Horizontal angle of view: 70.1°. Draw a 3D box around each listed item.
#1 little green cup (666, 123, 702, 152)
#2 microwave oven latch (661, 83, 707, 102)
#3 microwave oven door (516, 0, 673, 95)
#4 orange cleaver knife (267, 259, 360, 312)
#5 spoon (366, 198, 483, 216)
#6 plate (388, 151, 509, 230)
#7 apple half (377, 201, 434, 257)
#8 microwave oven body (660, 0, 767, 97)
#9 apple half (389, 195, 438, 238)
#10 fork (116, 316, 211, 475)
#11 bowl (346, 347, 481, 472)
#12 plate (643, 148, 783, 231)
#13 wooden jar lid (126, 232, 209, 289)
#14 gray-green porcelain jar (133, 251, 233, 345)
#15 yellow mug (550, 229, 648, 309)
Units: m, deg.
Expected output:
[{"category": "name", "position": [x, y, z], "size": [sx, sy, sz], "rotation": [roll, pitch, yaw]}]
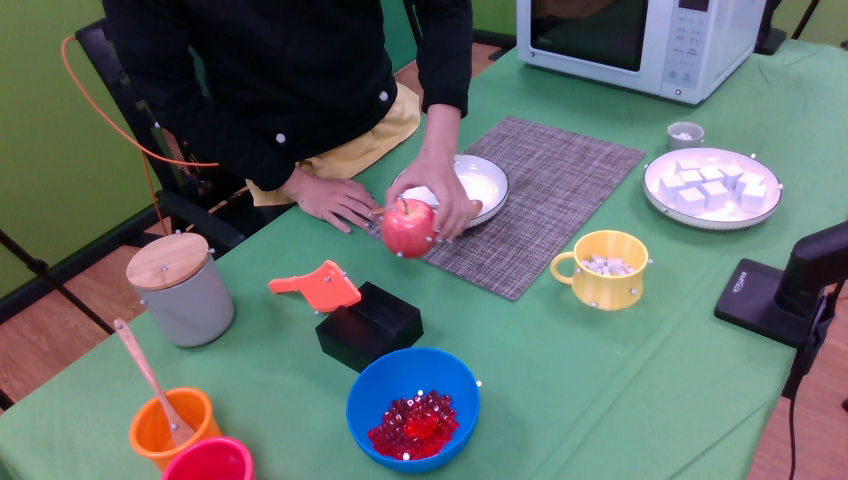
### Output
[{"category": "little green cup", "position": [0.472, -0.183, 1.103], "size": [0.061, 0.039, 0.061], "rotation": [-5, 41, 5]}, {"category": "microwave oven latch", "position": [0.516, -0.298, 1.202], "size": [0.078, 0.029, 0.030], "rotation": [25, 51, 33]}, {"category": "microwave oven door", "position": [0.344, -0.458, 1.256], "size": [0.353, 0.245, 0.039], "rotation": [26, 51, 33]}, {"category": "orange cleaver knife", "position": [-0.161, 0.070, 0.859], "size": [0.210, 0.077, 0.012], "rotation": [-13, 22, 49]}, {"category": "spoon", "position": [0.002, -0.054, 0.996], "size": [0.194, 0.022, 0.041], "rotation": [-1, 44, -10]}, {"category": "plate", "position": [0.044, -0.082, 1.043], "size": [0.209, 0.038, 0.208], "rotation": [-4, 40, 4]}, {"category": "apple half", "position": [-0.030, -0.009, 0.831], "size": [0.080, 0.075, 0.053], "rotation": [17, 44, 14]}, {"category": "microwave oven body", "position": [0.473, -0.517, 1.314], "size": [0.438, 0.261, 0.327], "rotation": [26, 51, 34]}, {"category": "apple half", "position": [-0.015, -0.029, 0.848], "size": [0.081, 0.081, 0.033], "rotation": [6, 21, 15]}, {"category": "fork", "position": [-0.308, 0.179, 0.708], "size": [0.028, 0.018, 0.207], "rotation": [-30, 89, -16]}, {"category": "bowl", "position": [-0.008, 0.205, 0.691], "size": [0.151, 0.077, 0.150], "rotation": [-4, 40, 4]}, {"category": "plate", "position": [0.464, -0.079, 0.986], "size": [0.207, 0.039, 0.206], "rotation": [-4, 40, 4]}, {"category": "wooden jar lid", "position": [-0.340, 0.030, 0.809], "size": [0.108, 0.021, 0.108], "rotation": [-5, 39, 5]}, {"category": "gray-green porcelain jar", "position": [-0.334, 0.076, 0.849], "size": [0.106, 0.127, 0.105], "rotation": [-4, 41, 4]}, {"category": "yellow mug", "position": [0.245, 0.040, 0.856], "size": [0.130, 0.064, 0.099], "rotation": [1, 41, 11]}]
